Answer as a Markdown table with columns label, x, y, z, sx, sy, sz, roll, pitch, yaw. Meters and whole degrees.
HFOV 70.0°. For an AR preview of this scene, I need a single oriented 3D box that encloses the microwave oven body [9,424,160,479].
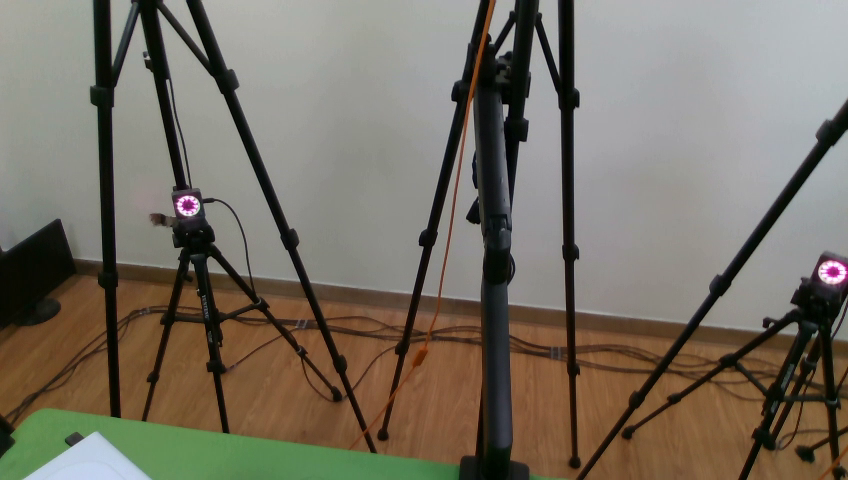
| label | x | y | z | sx | sy | sz | roll | pitch | yaw |
| --- | --- | --- | --- | --- | --- | --- | --- | --- | --- |
| microwave oven body | -0.450 | 0.480 | 0.653 | 0.323 | 0.262 | 0.441 | 23 | 39 | 28 |
